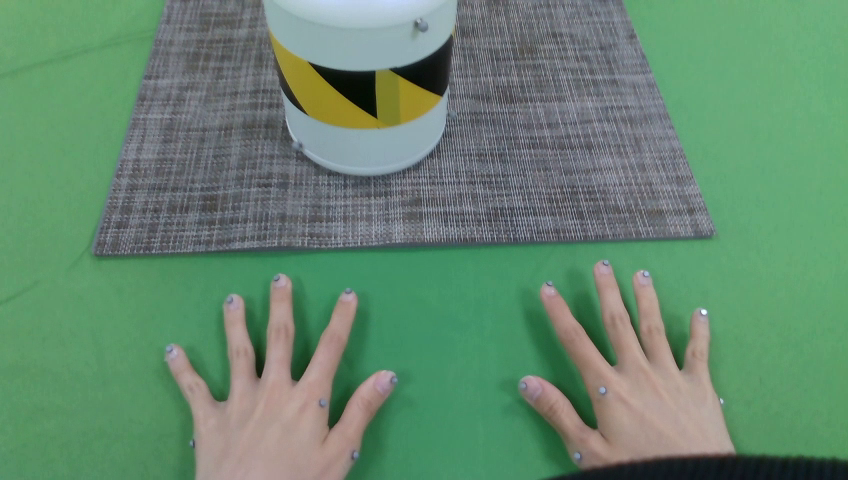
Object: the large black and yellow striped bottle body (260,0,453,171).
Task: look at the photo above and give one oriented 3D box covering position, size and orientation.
[{"bbox_3d":[-0.045,-0.153,0.425,0.131,0.185,0.129,2,56,-2],"label":"large black and yellow striped bottle body"}]
